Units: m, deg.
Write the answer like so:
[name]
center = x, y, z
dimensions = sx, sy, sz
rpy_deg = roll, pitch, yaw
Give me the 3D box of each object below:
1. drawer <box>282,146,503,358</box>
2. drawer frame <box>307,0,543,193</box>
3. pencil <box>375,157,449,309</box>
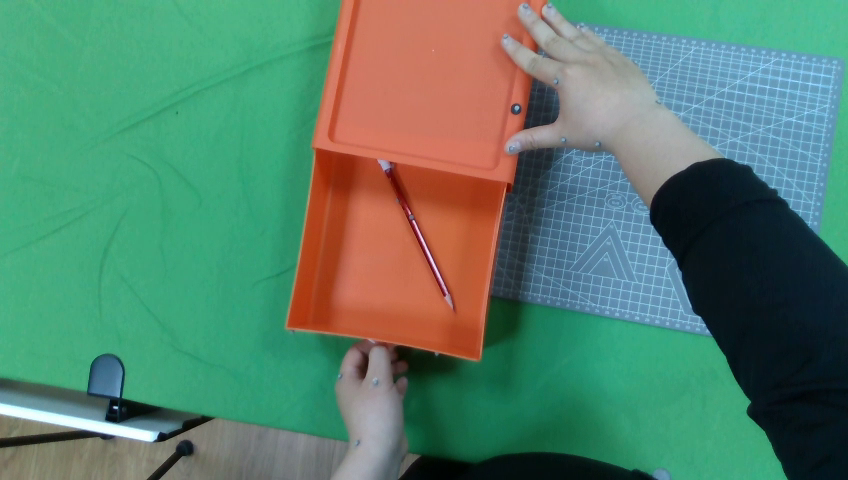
[drawer]
center = -0.027, 0.000, 0.612
dimensions = 0.194, 0.073, 0.211
rpy_deg = 8, 89, 8
[drawer frame]
center = 0.005, -0.171, 0.612
dimensions = 0.201, 0.083, 0.213
rpy_deg = 10, 88, 7
[pencil]
center = -0.014, -0.016, 0.637
dimensions = 0.012, 0.012, 0.194
rpy_deg = -24, 88, 4
